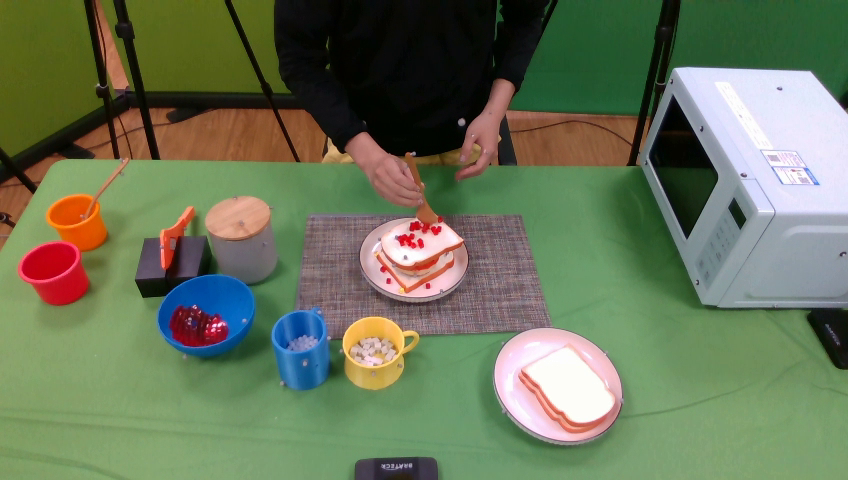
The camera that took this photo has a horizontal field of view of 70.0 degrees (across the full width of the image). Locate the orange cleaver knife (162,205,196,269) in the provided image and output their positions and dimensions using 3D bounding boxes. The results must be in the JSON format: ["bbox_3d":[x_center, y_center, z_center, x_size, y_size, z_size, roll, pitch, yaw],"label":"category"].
[{"bbox_3d":[-0.454,-0.010,1.129,0.012,0.077,0.210,-1,20,-5],"label":"orange cleaver knife"}]

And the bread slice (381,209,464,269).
[{"bbox_3d":[-0.009,0.000,1.096,0.134,0.018,0.106,-32,53,-25],"label":"bread slice"}]

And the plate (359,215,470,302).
[{"bbox_3d":[-0.019,0.038,1.140,0.209,0.038,0.208,2,46,-2],"label":"plate"}]

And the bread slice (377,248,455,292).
[{"bbox_3d":[-0.010,0.034,1.150,0.131,0.019,0.104,-29,56,-23],"label":"bread slice"}]

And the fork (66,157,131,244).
[{"bbox_3d":[-0.608,-0.074,1.132,0.207,0.019,0.028,-52,48,10],"label":"fork"}]

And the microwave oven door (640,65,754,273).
[{"bbox_3d":[0.523,-0.147,1.193,0.039,0.245,0.353,0,47,-3],"label":"microwave oven door"}]

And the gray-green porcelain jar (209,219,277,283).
[{"bbox_3d":[-0.323,0.007,1.092,0.106,0.127,0.105,2,46,-2],"label":"gray-green porcelain jar"}]

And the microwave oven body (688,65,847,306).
[{"bbox_3d":[0.669,-0.111,1.176,0.326,0.261,0.439,0,46,-3],"label":"microwave oven body"}]

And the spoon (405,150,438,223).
[{"bbox_3d":[-0.008,-0.087,1.041,0.041,0.195,0.021,7,53,18],"label":"spoon"}]

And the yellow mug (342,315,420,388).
[{"bbox_3d":[-0.068,0.177,0.990,0.131,0.064,0.099,-15,50,-19],"label":"yellow mug"}]

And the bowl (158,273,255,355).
[{"bbox_3d":[-0.351,0.136,1.001,0.151,0.077,0.150,2,46,-2],"label":"bowl"}]

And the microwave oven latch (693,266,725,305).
[{"bbox_3d":[0.523,0.081,1.115,0.030,0.029,0.078,3,46,0],"label":"microwave oven latch"}]

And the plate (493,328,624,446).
[{"bbox_3d":[0.213,0.236,0.974,0.208,0.039,0.206,2,46,-2],"label":"plate"}]

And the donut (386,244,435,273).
[{"bbox_3d":[-0.023,0.018,1.120,0.099,0.048,0.098,-10,48,11],"label":"donut"}]

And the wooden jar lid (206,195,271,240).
[{"bbox_3d":[-0.319,-0.036,1.046,0.108,0.021,0.107,1,44,0],"label":"wooden jar lid"}]

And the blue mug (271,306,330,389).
[{"bbox_3d":[-0.188,0.163,0.969,0.082,0.106,0.116,15,47,10],"label":"blue mug"}]
